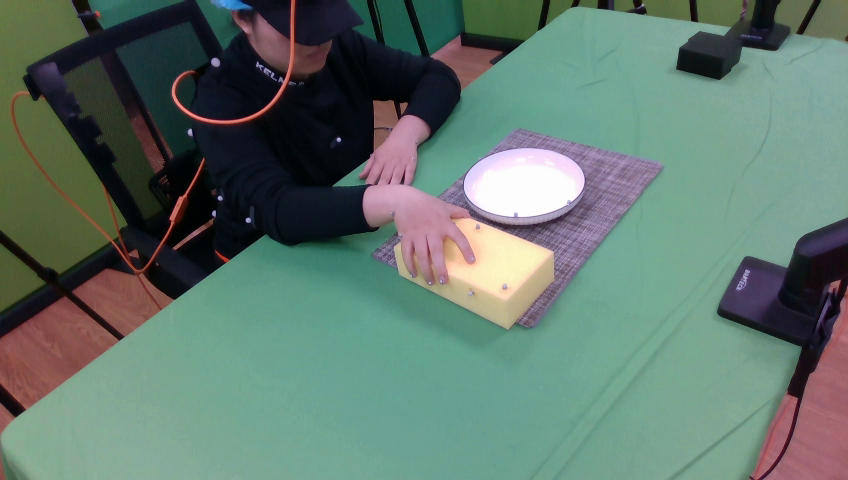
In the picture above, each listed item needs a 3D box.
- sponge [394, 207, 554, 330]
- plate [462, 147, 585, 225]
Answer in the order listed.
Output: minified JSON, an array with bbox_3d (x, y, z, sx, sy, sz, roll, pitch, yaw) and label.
[{"bbox_3d":[0.073,0.036,0.896,0.205,0.061,0.118,24,50,33],"label":"sponge"},{"bbox_3d":[0.170,-0.089,1.041,0.207,0.039,0.206,-5,40,5],"label":"plate"}]
